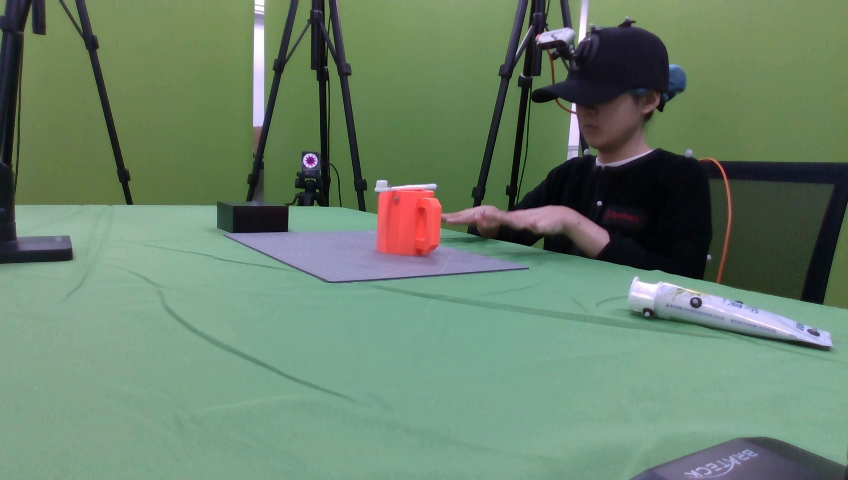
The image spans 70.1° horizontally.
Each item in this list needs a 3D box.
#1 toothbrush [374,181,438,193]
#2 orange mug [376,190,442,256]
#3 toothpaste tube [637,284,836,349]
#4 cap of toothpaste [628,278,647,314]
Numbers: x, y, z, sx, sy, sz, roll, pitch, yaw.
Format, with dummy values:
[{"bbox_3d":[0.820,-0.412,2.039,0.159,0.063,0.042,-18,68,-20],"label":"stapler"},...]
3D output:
[{"bbox_3d":[-0.023,-0.081,0.918,0.014,0.016,0.182,6,8,27],"label":"toothbrush"},{"bbox_3d":[-0.018,-0.028,0.914,0.084,0.100,0.125,-2,5,-38],"label":"orange mug"},{"bbox_3d":[0.275,0.070,0.550,0.164,0.034,0.055,11,15,28],"label":"toothpaste tube"},{"bbox_3d":[0.209,0.055,0.589,0.011,0.037,0.037,11,11,28],"label":"cap of toothpaste"}]
